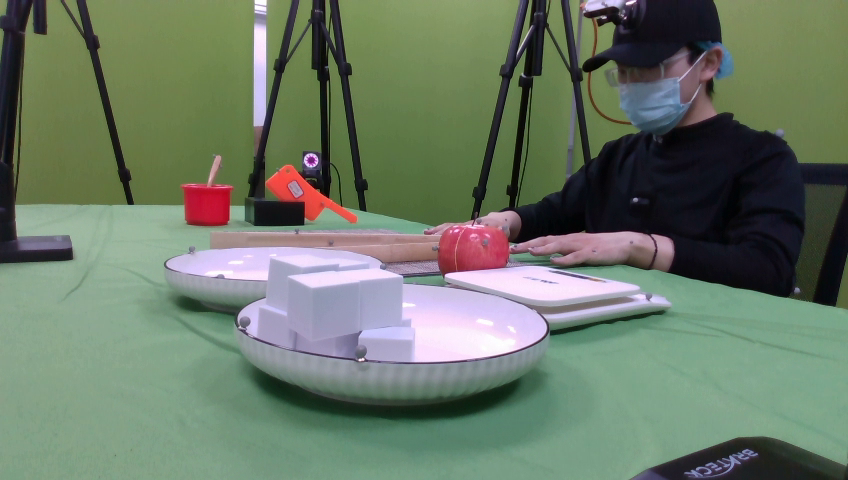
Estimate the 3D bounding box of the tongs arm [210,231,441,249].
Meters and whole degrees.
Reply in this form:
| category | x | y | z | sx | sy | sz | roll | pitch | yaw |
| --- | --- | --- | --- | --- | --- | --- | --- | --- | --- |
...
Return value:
| category | x | y | z | sx | sy | sz | roll | pitch | yaw |
| --- | --- | --- | --- | --- | --- | --- | --- | --- | --- |
| tongs arm | -0.106 | 0.004 | 0.876 | 0.386 | 0.026 | 0.050 | 0 | 6 | -20 |

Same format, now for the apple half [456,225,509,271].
| category | x | y | z | sx | sy | sz | roll | pitch | yaw |
| --- | --- | --- | --- | --- | --- | --- | --- | --- | --- |
| apple half | 0.071 | 0.021 | 0.662 | 0.082 | 0.081 | 0.032 | -4 | 7 | -42 |

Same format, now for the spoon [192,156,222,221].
| category | x | y | z | sx | sy | sz | roll | pitch | yaw |
| --- | --- | --- | --- | --- | --- | --- | --- | --- | --- |
| spoon | -0.430 | -0.108 | 1.222 | 0.041 | 0.021 | 0.193 | -1 | 52 | 0 |

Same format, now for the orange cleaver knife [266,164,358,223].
| category | x | y | z | sx | sy | sz | roll | pitch | yaw |
| --- | --- | --- | --- | --- | --- | --- | --- | --- | --- |
| orange cleaver knife | -0.238 | -0.082 | 1.295 | 0.212 | 0.077 | 0.012 | 35 | -9 | -26 |

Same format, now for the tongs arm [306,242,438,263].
| category | x | y | z | sx | sy | sz | roll | pitch | yaw |
| --- | --- | --- | --- | --- | --- | --- | --- | --- | --- |
| tongs arm | -0.070 | 0.017 | 0.800 | 0.390 | 0.028 | 0.028 | -2 | 4 | -34 |

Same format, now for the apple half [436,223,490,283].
| category | x | y | z | sx | sy | sz | roll | pitch | yaw |
| --- | --- | --- | --- | --- | --- | --- | --- | --- | --- |
| apple half | 0.045 | 0.017 | 0.691 | 0.081 | 0.074 | 0.053 | -9 | 10 | -41 |

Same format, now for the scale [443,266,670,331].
| category | x | y | z | sx | sy | sz | roll | pitch | yaw |
| --- | --- | --- | --- | --- | --- | --- | --- | --- | --- |
| scale | 0.131 | 0.052 | 0.603 | 0.202 | 0.031 | 0.148 | -2 | 9 | -37 |

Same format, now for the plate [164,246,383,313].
| category | x | y | z | sx | sy | sz | roll | pitch | yaw |
| --- | --- | --- | --- | --- | --- | --- | --- | --- | --- |
| plate | -0.145 | 0.038 | 0.600 | 0.209 | 0.038 | 0.209 | 2 | 7 | 0 |

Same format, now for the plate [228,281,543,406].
| category | x | y | z | sx | sy | sz | roll | pitch | yaw |
| --- | --- | --- | --- | --- | --- | --- | --- | --- | --- |
| plate | -0.025 | 0.067 | 0.413 | 0.208 | 0.039 | 0.207 | 3 | 7 | 0 |
